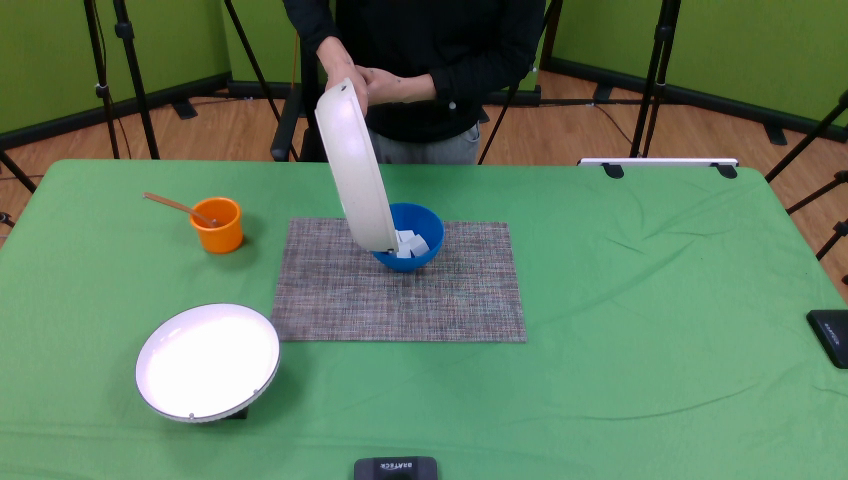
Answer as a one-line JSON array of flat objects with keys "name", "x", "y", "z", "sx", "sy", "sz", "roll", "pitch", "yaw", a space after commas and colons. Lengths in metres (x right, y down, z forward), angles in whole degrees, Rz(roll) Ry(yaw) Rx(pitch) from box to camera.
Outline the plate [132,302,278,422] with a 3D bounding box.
[{"name": "plate", "x": -0.325, "y": 0.186, "z": 0.916, "sx": 0.208, "sy": 0.039, "sz": 0.206, "roll": 3, "pitch": 44, "yaw": -2}]

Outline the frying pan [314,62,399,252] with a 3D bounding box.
[{"name": "frying pan", "x": -0.124, "y": -0.183, "z": 1.062, "sx": 0.103, "sy": 0.308, "sz": 0.484, "roll": -10, "pitch": 44, "yaw": 0}]

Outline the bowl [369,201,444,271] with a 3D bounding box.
[{"name": "bowl", "x": -0.040, "y": 0.006, "z": 1.144, "sx": 0.151, "sy": 0.077, "sz": 0.150, "roll": 2, "pitch": 46, "yaw": -2}]

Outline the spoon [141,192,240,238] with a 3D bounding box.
[{"name": "spoon", "x": -0.428, "y": -0.048, "z": 1.123, "sx": 0.021, "sy": 0.195, "sz": 0.041, "roll": -39, "pitch": 44, "yaw": 20}]
